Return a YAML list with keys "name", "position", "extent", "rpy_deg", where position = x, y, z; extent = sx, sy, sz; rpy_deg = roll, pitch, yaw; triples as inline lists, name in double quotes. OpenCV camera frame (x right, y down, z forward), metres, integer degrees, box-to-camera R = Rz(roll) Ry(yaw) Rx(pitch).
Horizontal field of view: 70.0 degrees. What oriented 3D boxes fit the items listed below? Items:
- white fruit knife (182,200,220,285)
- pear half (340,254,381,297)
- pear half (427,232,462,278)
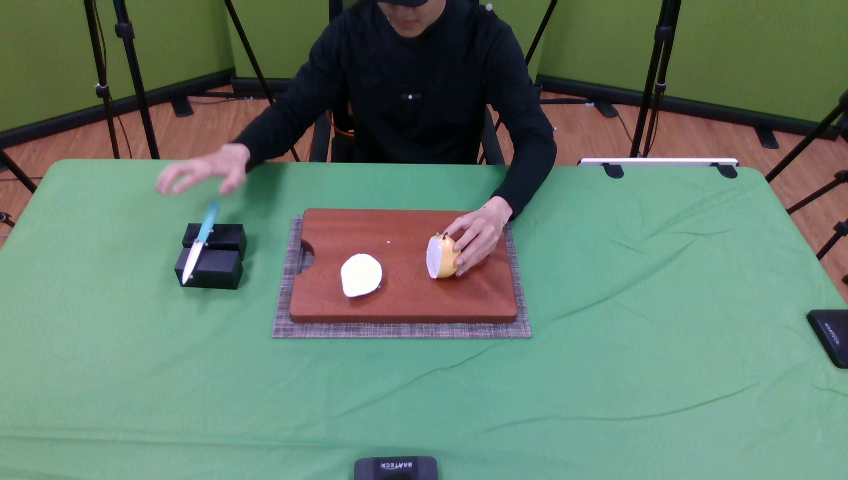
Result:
- name: "white fruit knife"
  position: [-0.405, 0.001, 1.103]
  extent: [0.027, 0.016, 0.206]
  rpy_deg: [-12, 47, 16]
- name: "pear half"
  position: [-0.116, 0.068, 1.074]
  extent: [0.070, 0.031, 0.088]
  rpy_deg: [31, 64, 4]
- name: "pear half"
  position: [0.042, 0.019, 1.078]
  extent: [0.056, 0.110, 0.076]
  rpy_deg: [-11, 59, -18]
